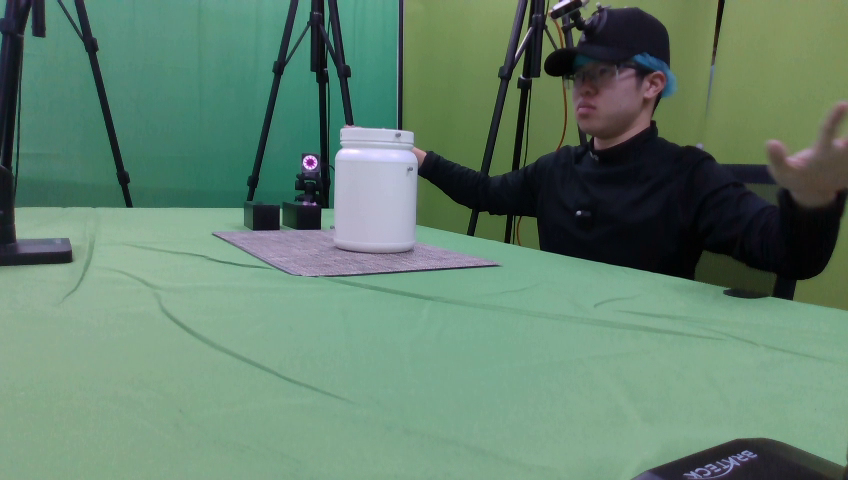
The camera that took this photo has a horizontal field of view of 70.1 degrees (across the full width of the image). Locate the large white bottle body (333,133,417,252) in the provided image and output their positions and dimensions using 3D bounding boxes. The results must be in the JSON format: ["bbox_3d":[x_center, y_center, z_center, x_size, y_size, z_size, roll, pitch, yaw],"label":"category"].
[{"bbox_3d":[-0.076,-0.080,0.950,0.131,0.184,0.130,2,7,0],"label":"large white bottle body"}]

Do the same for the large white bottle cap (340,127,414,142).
[{"bbox_3d":[-0.072,-0.163,0.940,0.115,0.018,0.115,2,7,0],"label":"large white bottle cap"}]
